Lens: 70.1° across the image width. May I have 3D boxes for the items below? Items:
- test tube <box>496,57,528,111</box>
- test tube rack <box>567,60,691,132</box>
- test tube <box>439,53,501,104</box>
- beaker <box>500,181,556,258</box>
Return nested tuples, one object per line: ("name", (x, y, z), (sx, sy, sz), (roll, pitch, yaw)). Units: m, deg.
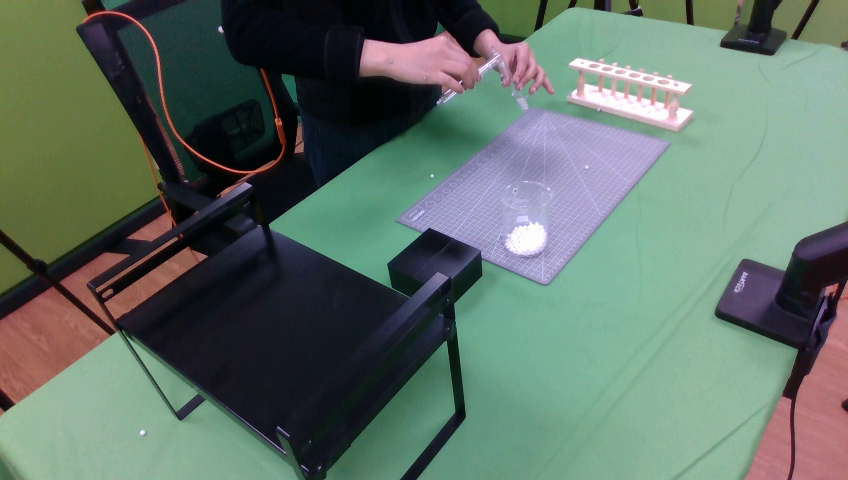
("test tube", (0.158, -0.274, 1.077), (0.017, 0.152, 0.017), (-11, 63, 23))
("test tube rack", (0.411, -0.299, 1.216), (0.240, 0.085, 0.067), (26, 51, 34))
("test tube", (0.076, -0.260, 0.975), (0.017, 0.017, 0.150), (27, 56, 34))
("beaker", (0.159, -0.030, 0.922), (0.084, 0.100, 0.073), (-13, 41, -8))
